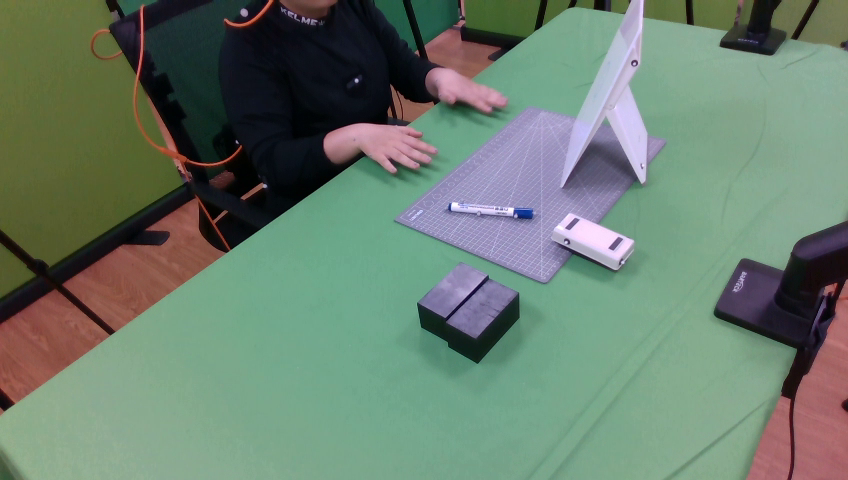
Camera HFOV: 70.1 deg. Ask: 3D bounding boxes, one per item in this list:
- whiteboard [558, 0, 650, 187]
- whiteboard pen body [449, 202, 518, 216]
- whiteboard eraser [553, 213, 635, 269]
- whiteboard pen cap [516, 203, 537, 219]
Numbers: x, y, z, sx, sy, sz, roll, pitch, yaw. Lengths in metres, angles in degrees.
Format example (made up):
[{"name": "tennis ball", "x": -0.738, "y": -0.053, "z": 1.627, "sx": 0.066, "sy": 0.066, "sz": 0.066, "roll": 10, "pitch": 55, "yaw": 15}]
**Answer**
[{"name": "whiteboard", "x": 0.361, "y": -0.238, "z": 1.026, "sx": 0.144, "sy": 0.306, "sz": 0.217, "roll": 21, "pitch": 45, "yaw": 4}, {"name": "whiteboard pen body", "x": 0.111, "y": -0.052, "z": 1.021, "sx": 0.140, "sy": 0.017, "sz": 0.017, "roll": 6, "pitch": 42, "yaw": 16}, {"name": "whiteboard eraser", "x": 0.257, "y": 0.003, "z": 0.918, "sx": 0.112, "sy": 0.042, "sz": 0.056, "roll": 27, "pitch": 49, "yaw": 30}, {"name": "whiteboard pen cap", "x": 0.171, "y": -0.048, "z": 1.004, "sx": 0.033, "sy": 0.018, "sz": 0.018, "roll": -23, "pitch": 42, "yaw": -19}]
